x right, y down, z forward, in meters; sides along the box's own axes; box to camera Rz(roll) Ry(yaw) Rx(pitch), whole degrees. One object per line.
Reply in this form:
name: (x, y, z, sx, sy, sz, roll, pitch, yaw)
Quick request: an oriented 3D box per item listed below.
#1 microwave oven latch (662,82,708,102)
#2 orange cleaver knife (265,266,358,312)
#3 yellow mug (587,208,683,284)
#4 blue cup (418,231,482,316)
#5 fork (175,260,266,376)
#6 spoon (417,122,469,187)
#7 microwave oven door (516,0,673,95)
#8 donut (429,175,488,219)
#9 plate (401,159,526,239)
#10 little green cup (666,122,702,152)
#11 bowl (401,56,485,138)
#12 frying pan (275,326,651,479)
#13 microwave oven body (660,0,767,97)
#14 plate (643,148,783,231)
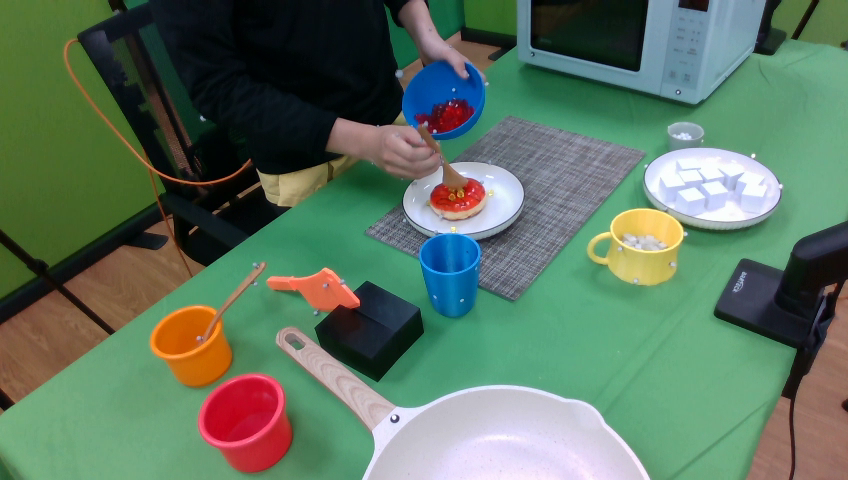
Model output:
microwave oven latch: (0.518, -0.298, 1.202, 0.078, 0.029, 0.030, 28, 53, 35)
orange cleaver knife: (-0.164, 0.073, 0.864, 0.210, 0.077, 0.012, -6, 30, 50)
yellow mug: (0.305, 0.009, 0.884, 0.131, 0.064, 0.099, -4, 41, 5)
blue cup: (0.040, 0.053, 0.843, 0.092, 0.100, 0.092, -4, 43, 4)
fork: (-0.268, 0.103, 0.792, 0.207, 0.019, 0.028, -51, 41, 16)
spoon: (0.025, -0.125, 0.908, 0.041, 0.195, 0.021, -8, 63, 19)
microwave oven door: (0.344, -0.458, 1.256, 0.353, 0.245, 0.039, 26, 51, 33)
donut: (0.058, -0.075, 1.015, 0.099, 0.048, 0.098, -6, 38, 5)
plate: (0.067, -0.065, 1.019, 0.209, 0.038, 0.208, -4, 40, 4)
little green cup: (0.471, -0.184, 1.102, 0.061, 0.039, 0.061, -5, 41, 5)
bowl: (0.043, -0.237, 1.067, 0.151, 0.077, 0.151, -6, 69, 18)
frying pan: (0.003, 0.229, 0.641, 0.484, 0.103, 0.308, 34, 54, 28)
microwave oven body: (0.473, -0.516, 1.313, 0.438, 0.261, 0.327, 26, 51, 34)
plate: (0.464, -0.080, 0.986, 0.207, 0.039, 0.206, -4, 41, 4)
